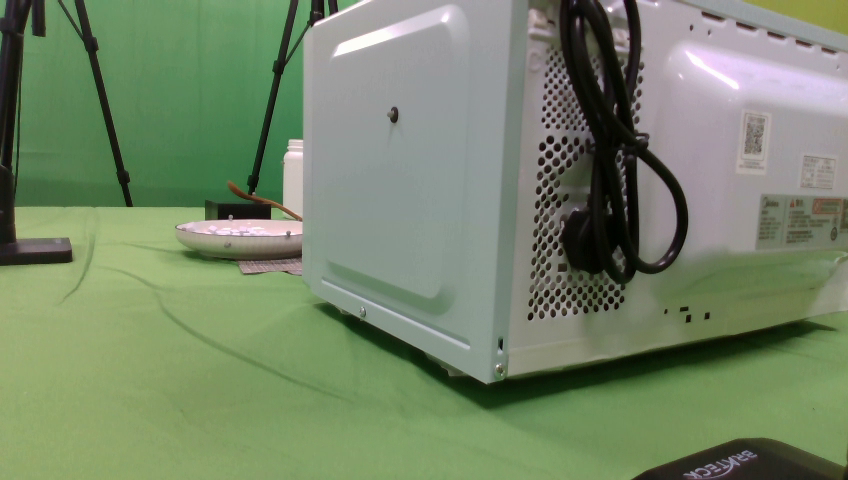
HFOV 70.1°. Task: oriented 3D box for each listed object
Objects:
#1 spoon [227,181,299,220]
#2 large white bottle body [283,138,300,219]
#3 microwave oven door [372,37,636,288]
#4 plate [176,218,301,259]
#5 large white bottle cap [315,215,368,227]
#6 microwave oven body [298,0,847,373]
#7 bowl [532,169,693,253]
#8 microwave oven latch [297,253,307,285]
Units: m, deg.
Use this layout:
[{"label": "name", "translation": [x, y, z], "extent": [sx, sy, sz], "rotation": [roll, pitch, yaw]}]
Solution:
[{"label": "spoon", "translation": [-0.315, -0.074, 1.234], "extent": [0.195, 0.021, 0.041], "rotation": [24, -9, -37]}, {"label": "large white bottle body", "translation": [-0.265, -0.144, 1.424], "extent": [0.131, 0.184, 0.130], "rotation": [2, 7, 0]}, {"label": "microwave oven door", "translation": [0.110, -0.080, 0.686], "extent": [0.358, 0.243, 0.039], "rotation": [-2, 9, -33]}, {"label": "plate", "translation": [-0.248, -0.003, 0.877], "extent": [0.209, 0.038, 0.209], "rotation": [1, 8, 0]}, {"label": "large white bottle cap", "translation": [-0.178, -0.041, 1.308], "extent": [0.115, 0.018, 0.115], "rotation": [2, 6, 0]}, {"label": "microwave oven body", "translation": [0.151, -0.055, 0.543], "extent": [0.444, 0.260, 0.324], "rotation": [-1, 7, -33]}, {"label": "bowl", "translation": [0.181, -0.030, 0.596], "extent": [0.151, 0.077, 0.151], "rotation": [1, 6, 0]}, {"label": "microwave oven latch", "translation": [-0.082, 0.027, 0.582], "extent": [0.079, 0.029, 0.030], "rotation": [-1, 7, -33]}]
